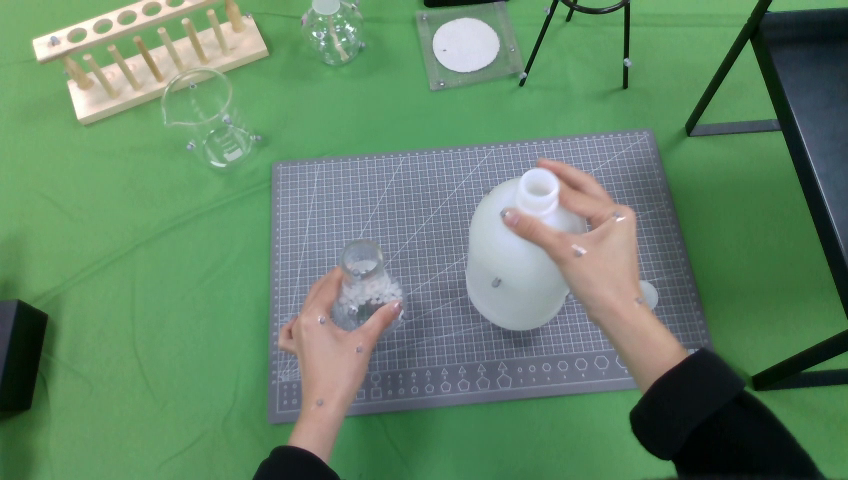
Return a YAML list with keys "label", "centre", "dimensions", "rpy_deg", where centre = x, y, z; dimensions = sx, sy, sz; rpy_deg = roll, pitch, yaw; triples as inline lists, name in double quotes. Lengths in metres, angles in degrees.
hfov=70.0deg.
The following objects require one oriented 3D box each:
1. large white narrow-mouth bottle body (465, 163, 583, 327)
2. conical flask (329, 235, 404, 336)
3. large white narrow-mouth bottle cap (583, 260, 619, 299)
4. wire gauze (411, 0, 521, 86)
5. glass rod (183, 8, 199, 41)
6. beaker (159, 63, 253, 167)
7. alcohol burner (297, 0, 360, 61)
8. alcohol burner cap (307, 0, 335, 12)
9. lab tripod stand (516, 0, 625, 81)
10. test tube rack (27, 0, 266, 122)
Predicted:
- label: "large white narrow-mouth bottle body"
  centre: [0.088, 0.000, 0.539]
  dimensions: [0.102, 0.196, 0.101]
  rpy_deg: [-1, 61, 3]
- label: "conical flask"
  centre: [-0.057, 0.038, 0.565]
  dimensions: [0.075, 0.123, 0.074]
  rpy_deg: [1, 64, -1]
- label: "large white narrow-mouth bottle cap"
  centre: [0.186, 0.042, 0.636]
  dimensions: [0.038, 0.024, 0.037]
  rpy_deg: [-1, 66, 3]
- label: "wire gauze"
  centre: [0.052, -0.258, 0.774]
  dimensions: [0.121, 0.011, 0.124]
  rpy_deg: [-10, 67, -4]
- label: "glass rod"
  centre: [-0.284, -0.299, 0.686]
  dimensions: [0.008, 0.201, 0.008]
  rpy_deg: [1, 64, -3]
- label: "beaker"
  centre: [-0.241, -0.133, 0.679]
  dimensions: [0.073, 0.101, 0.084]
  rpy_deg: [39, 73, 17]
- label: "alcohol burner"
  centre: [-0.118, -0.274, 0.729]
  dimensions: [0.078, 0.120, 0.077]
  rpy_deg: [0, 65, 1]
- label: "alcohol burner cap"
  centre: [-0.119, -0.291, 0.696]
  dimensions: [0.034, 0.048, 0.033]
  rpy_deg: [3, 65, -7]
- label: "lab tripod stand"
  centre: [0.181, -0.256, 0.703]
  dimensions: [0.148, 0.132, 0.147]
  rpy_deg: [0, 66, 0]
- label: "test tube rack"
  centre: [-0.327, -0.236, 0.732]
  dimensions: [0.242, 0.086, 0.066]
  rpy_deg: [-24, 68, -9]
